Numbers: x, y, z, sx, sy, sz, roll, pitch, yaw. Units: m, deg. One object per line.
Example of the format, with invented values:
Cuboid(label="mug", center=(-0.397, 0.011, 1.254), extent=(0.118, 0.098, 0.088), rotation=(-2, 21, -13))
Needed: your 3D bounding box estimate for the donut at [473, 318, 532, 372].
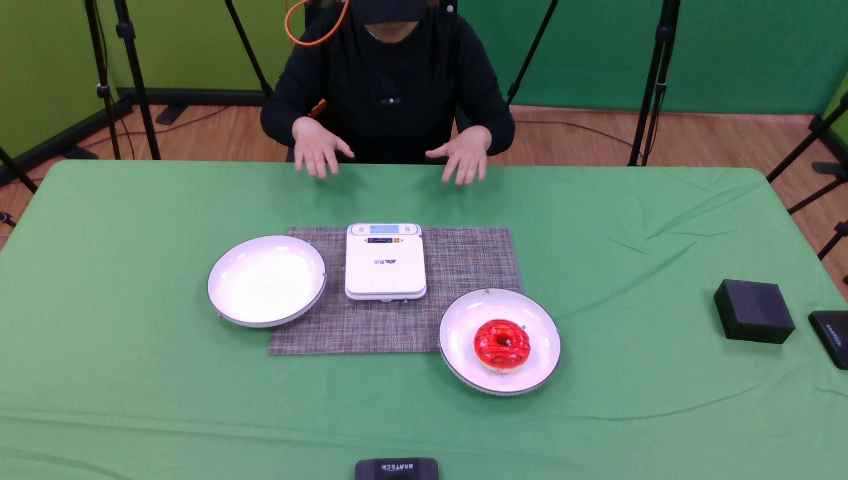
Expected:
Cuboid(label="donut", center=(0.131, 0.174, 1.010), extent=(0.099, 0.048, 0.098), rotation=(1, 48, -1))

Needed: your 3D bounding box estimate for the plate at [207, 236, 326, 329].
Cuboid(label="plate", center=(-0.278, 0.078, 1.088), extent=(0.208, 0.039, 0.206), rotation=(1, 46, 0))

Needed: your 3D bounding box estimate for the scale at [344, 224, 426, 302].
Cuboid(label="scale", center=(-0.075, 0.033, 1.149), extent=(0.149, 0.032, 0.199), rotation=(0, 46, -5))

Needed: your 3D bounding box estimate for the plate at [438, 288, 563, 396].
Cuboid(label="plate", center=(0.127, 0.173, 1.025), extent=(0.209, 0.038, 0.208), rotation=(3, 48, -3))
